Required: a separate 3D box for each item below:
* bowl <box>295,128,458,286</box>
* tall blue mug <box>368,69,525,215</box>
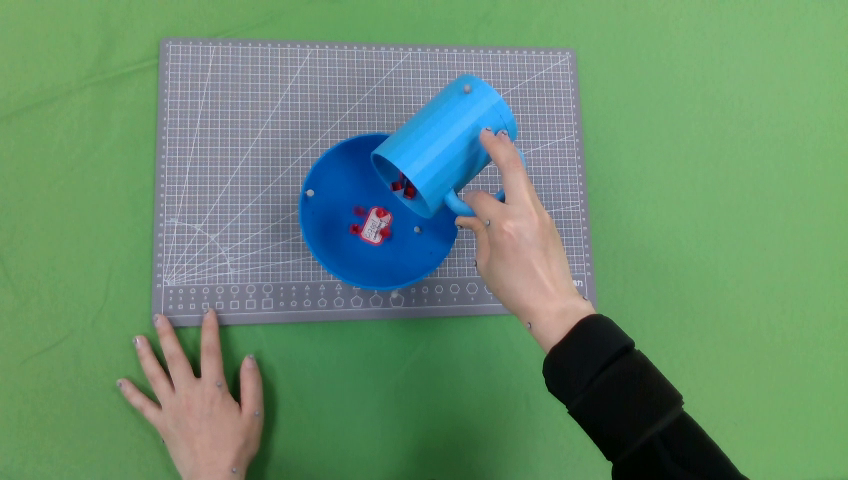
[{"bbox_3d":[-0.047,-0.025,0.592,0.152,0.077,0.151,1,81,-8],"label":"bowl"},{"bbox_3d":[0.025,-0.079,0.518,0.108,0.106,0.078,-43,132,-12],"label":"tall blue mug"}]
